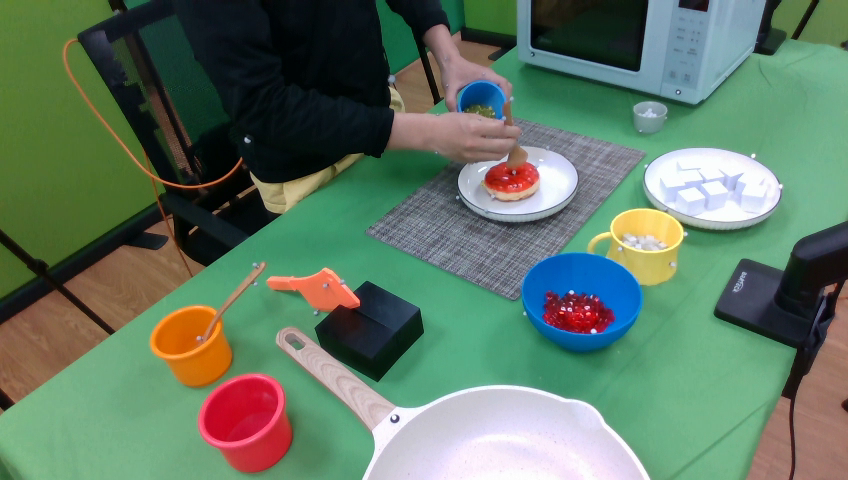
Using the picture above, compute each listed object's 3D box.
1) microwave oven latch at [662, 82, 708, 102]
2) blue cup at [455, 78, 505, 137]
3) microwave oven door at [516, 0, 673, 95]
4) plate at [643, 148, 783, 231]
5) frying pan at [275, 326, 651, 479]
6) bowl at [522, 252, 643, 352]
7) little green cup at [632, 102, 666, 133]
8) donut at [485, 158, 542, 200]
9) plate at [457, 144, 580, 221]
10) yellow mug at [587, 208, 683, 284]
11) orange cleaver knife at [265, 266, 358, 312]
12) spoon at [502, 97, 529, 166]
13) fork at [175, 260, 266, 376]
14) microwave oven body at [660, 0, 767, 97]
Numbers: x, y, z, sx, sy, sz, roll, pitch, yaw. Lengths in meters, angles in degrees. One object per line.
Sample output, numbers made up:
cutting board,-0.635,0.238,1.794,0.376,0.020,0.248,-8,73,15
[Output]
microwave oven latch,0.518,-0.299,1.203,0.078,0.029,0.030,29,53,36
blue cup,0.098,-0.225,1.066,0.092,0.100,0.092,-1,82,4
microwave oven door,0.344,-0.458,1.256,0.353,0.245,0.039,26,52,33
plate,0.465,-0.079,0.986,0.207,0.039,0.206,-4,41,4
frying pan,0.003,0.229,0.641,0.484,0.103,0.308,34,54,28
bowl,0.204,0.093,0.791,0.151,0.077,0.150,-4,40,4
little green cup,0.434,-0.237,1.171,0.061,0.039,0.061,-5,40,5
donut,0.153,-0.108,1.039,0.099,0.048,0.098,-6,38,5
plate,0.162,-0.097,1.042,0.209,0.038,0.208,-4,40,4
yellow mug,0.305,0.009,0.884,0.131,0.064,0.099,-4,40,5
orange cleaver knife,-0.164,0.073,0.864,0.210,0.077,0.012,-6,30,50
spoon,0.134,-0.161,0.923,0.041,0.195,0.021,-26,62,4
fork,-0.268,0.103,0.792,0.207,0.019,0.028,-51,41,16
microwave oven body,0.473,-0.517,1.313,0.438,0.261,0.327,26,51,34
